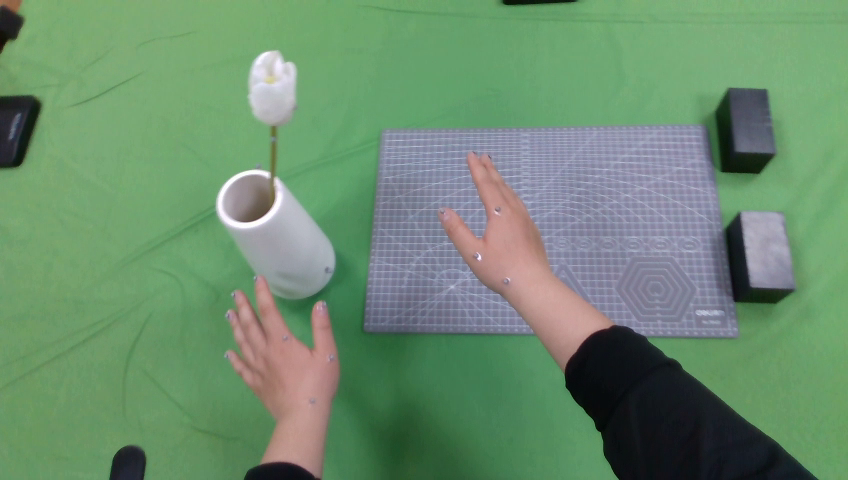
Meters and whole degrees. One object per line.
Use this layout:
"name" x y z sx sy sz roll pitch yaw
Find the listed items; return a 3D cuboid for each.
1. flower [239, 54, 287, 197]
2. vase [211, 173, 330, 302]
"flower" -0.164 -0.041 0.631 0.038 0.364 0.043 -11 60 -20
"vase" -0.173 0.001 0.703 0.098 0.201 0.097 -1 66 3
